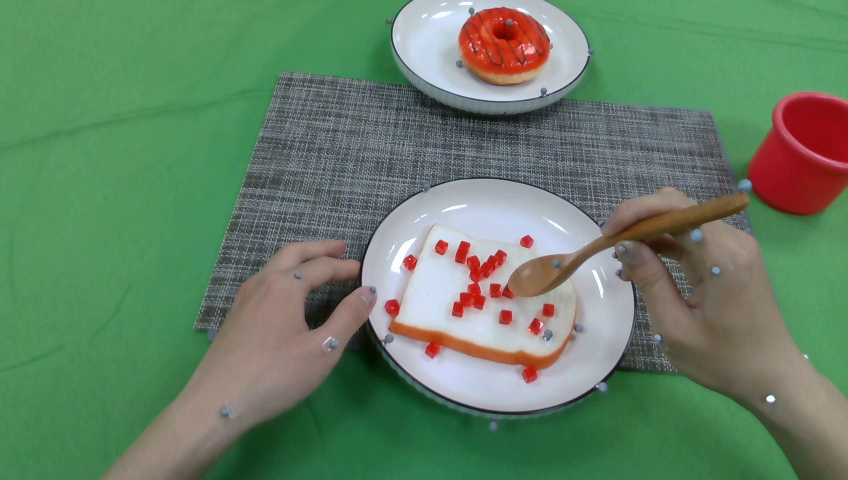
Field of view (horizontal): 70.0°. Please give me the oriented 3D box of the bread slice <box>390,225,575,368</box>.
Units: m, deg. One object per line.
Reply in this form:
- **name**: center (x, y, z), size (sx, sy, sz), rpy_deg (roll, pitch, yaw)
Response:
- **bread slice**: center (0.050, 0.041, 0.466), size (0.131, 0.019, 0.104), rpy_deg (14, 54, 8)

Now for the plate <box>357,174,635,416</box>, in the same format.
- **plate**: center (0.053, 0.037, 0.466), size (0.209, 0.038, 0.207), rpy_deg (2, 54, -3)

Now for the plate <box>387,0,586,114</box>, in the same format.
- **plate**: center (0.064, -0.199, 0.641), size (0.208, 0.039, 0.205), rpy_deg (3, 52, -3)

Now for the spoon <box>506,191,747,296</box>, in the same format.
- **spoon**: center (0.108, 0.004, 0.368), size (0.022, 0.194, 0.041), rpy_deg (41, 63, -7)

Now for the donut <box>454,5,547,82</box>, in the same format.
- **donut**: center (0.079, -0.204, 0.631), size (0.099, 0.048, 0.098), rpy_deg (3, 55, -4)
